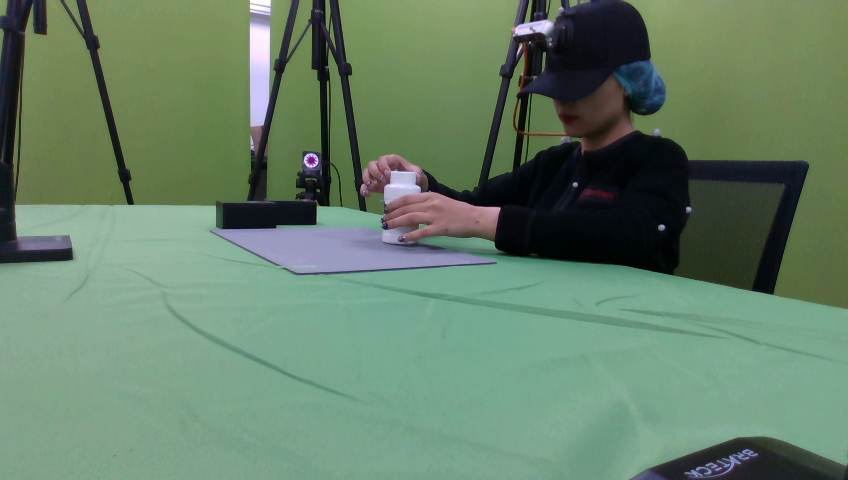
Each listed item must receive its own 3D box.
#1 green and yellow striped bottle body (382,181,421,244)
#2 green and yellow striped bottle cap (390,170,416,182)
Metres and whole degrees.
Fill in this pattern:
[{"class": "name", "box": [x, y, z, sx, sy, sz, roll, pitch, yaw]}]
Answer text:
[{"class": "green and yellow striped bottle body", "box": [-0.038, -0.055, 1.018, 0.063, 0.119, 0.063, 3, 7, 0]}, {"class": "green and yellow striped bottle cap", "box": [-0.036, -0.107, 1.013, 0.045, 0.020, 0.045, 4, 9, 0]}]
